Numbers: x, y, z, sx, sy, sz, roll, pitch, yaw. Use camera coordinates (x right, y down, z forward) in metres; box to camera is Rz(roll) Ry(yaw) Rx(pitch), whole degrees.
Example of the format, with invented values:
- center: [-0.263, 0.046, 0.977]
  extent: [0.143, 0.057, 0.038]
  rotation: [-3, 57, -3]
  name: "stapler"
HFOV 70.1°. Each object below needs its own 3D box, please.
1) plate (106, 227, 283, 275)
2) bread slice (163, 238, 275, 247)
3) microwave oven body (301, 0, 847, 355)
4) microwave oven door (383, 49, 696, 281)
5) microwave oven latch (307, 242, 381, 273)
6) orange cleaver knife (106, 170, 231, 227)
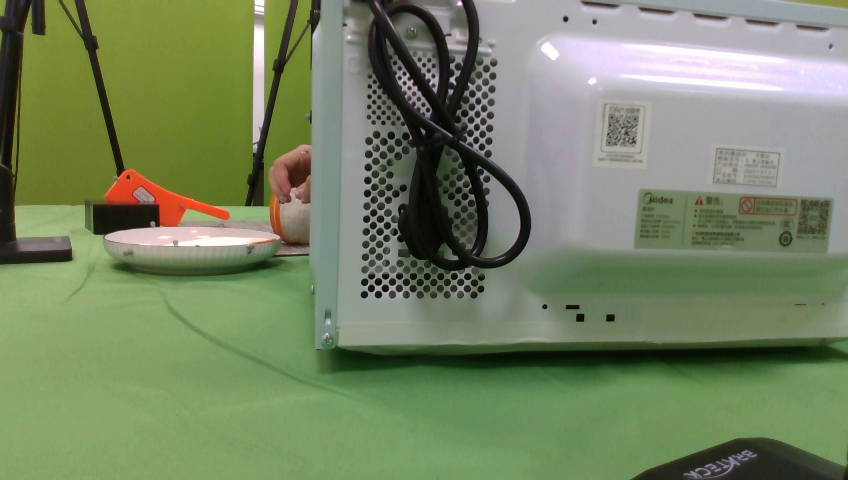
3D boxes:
- center: [-0.288, 0.013, 0.772]
  extent: [0.208, 0.039, 0.207]
  rotation: [2, 7, 0]
  name: "plate"
- center: [-0.268, 0.014, 0.759]
  extent: [0.106, 0.018, 0.135]
  rotation: [2, 8, 21]
  name: "bread slice"
- center: [0.120, -0.053, 0.535]
  extent: [0.443, 0.260, 0.325]
  rotation: [2, 7, -11]
  name: "microwave oven body"
- center: [0.136, -0.077, 0.682]
  extent: [0.357, 0.243, 0.039]
  rotation: [1, 6, -12]
  name: "microwave oven door"
- center: [-0.086, 0.019, 0.656]
  extent: [0.079, 0.029, 0.030]
  rotation: [2, 7, -10]
  name: "microwave oven latch"
- center: [-0.458, -0.060, 1.097]
  extent: [0.212, 0.077, 0.012]
  rotation: [23, -4, -38]
  name: "orange cleaver knife"
